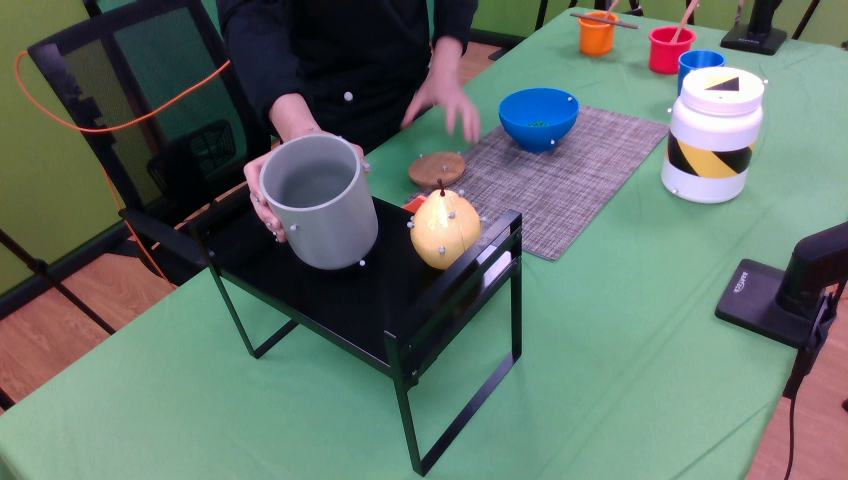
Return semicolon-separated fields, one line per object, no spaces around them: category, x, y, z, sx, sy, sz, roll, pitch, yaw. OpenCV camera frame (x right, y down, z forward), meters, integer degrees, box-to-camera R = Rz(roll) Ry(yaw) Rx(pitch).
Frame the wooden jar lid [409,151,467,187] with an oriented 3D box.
wooden jar lid;0.026;-0.131;1.124;0.108;0.021;0.108;-7;36;6

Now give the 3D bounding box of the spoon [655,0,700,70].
spoon;0.568;-0.463;1.337;0.041;0.022;0.193;30;97;37

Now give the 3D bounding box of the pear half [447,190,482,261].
pear half;0.046;-0.020;0.664;0.031;0.088;0.070;-17;38;-9

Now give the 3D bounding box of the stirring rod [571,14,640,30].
stirring rod;0.418;-0.508;1.404;0.174;0.006;0.014;28;54;35

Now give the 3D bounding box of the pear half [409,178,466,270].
pear half;0.011;-0.019;0.654;0.056;0.110;0.076;-16;37;-9

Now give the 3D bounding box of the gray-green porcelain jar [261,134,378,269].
gray-green porcelain jar;-0.109;-0.036;0.671;0.106;0.127;0.105;-3;55;5

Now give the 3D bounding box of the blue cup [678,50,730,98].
blue cup;0.542;-0.310;1.194;0.092;0.101;0.092;-6;41;6

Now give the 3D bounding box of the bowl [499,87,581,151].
bowl;0.220;-0.223;1.156;0.151;0.077;0.150;-4;40;4

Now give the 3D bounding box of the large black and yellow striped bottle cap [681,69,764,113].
large black and yellow striped bottle cap;0.453;-0.229;0.921;0.115;0.019;0.114;-4;39;4

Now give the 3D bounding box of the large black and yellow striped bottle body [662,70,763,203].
large black and yellow striped bottle body;0.464;-0.166;0.976;0.131;0.185;0.130;-5;41;5

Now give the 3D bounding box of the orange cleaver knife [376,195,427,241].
orange cleaver knife;-0.037;-0.029;0.973;0.210;0.077;0.012;-8;33;50

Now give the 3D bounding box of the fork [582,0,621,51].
fork;0.446;-0.539;1.438;0.207;0.019;0.028;-57;36;12
